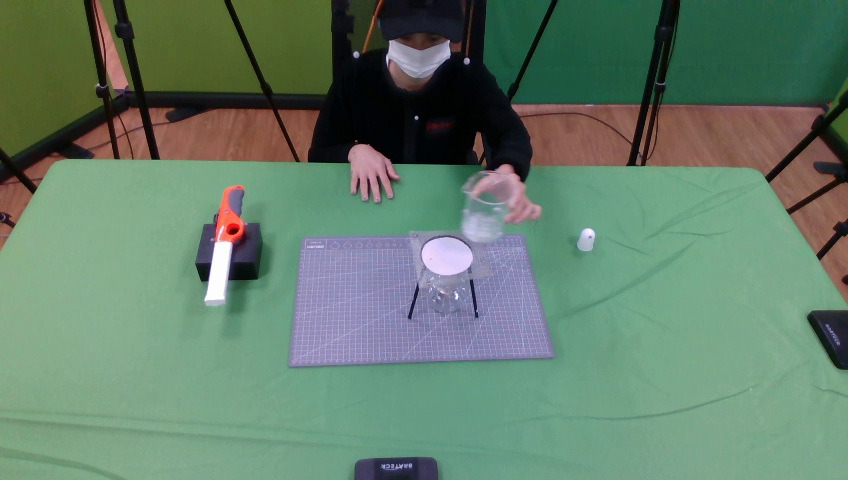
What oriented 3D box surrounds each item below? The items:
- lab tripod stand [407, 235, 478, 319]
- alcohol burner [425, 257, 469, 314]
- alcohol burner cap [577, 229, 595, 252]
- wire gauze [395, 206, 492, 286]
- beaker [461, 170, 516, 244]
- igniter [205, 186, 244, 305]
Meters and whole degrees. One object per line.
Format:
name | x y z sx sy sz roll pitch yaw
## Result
lab tripod stand | 0.032 0.065 1.057 0.148 0.132 0.147 1 45 -1
alcohol burner | 0.041 0.074 1.063 0.078 0.120 0.077 1 46 -1
alcohol burner cap | 0.326 -0.002 1.212 0.034 0.048 0.033 1 48 -1
wire gauze | 0.031 0.010 0.993 0.125 0.011 0.120 -24 56 -16
beaker | 0.096 -0.049 0.959 0.084 0.101 0.073 -2 49 -8
igniter | -0.361 0.001 1.100 0.057 0.025 0.274 -2 49 -6
